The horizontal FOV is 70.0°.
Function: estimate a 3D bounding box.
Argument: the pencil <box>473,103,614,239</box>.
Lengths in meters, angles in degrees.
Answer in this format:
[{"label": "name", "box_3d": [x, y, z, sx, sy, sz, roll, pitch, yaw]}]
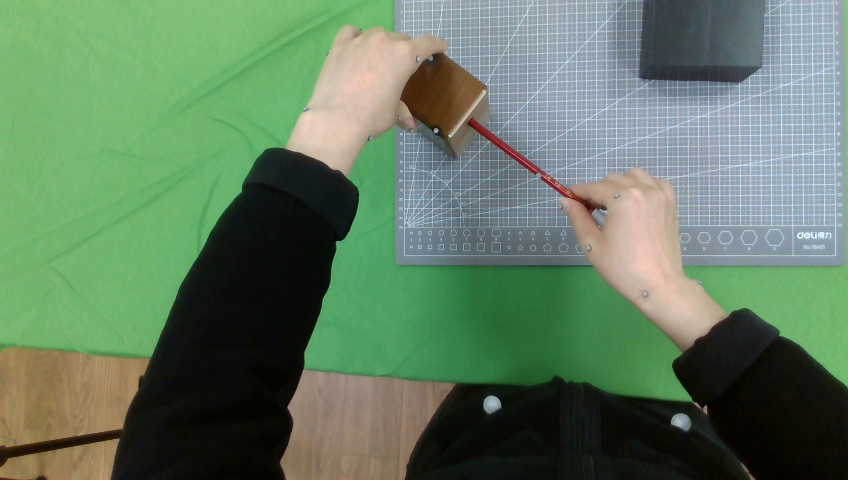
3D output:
[{"label": "pencil", "box_3d": [0.097, -0.071, 0.543, 0.012, 0.012, 0.193, -45, 83, 4]}]

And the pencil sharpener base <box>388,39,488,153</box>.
[{"label": "pencil sharpener base", "box_3d": [0.015, -0.137, 0.588, 0.076, 0.107, 0.061, 40, 94, 6]}]

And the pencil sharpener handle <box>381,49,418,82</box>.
[{"label": "pencil sharpener handle", "box_3d": [-0.028, -0.167, 0.580, 0.030, 0.068, 0.036, 40, 79, 6]}]
